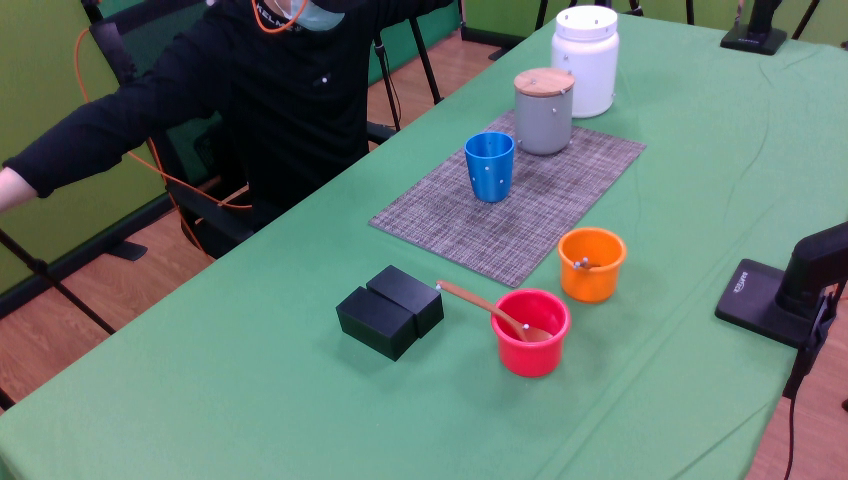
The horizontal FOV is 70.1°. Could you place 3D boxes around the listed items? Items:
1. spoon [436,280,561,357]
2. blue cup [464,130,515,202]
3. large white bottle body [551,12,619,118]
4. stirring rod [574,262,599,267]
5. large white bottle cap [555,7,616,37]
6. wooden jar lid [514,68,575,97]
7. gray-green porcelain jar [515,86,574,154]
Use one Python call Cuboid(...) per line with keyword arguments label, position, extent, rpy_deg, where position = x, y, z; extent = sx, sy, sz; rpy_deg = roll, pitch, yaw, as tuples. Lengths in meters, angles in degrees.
Cuboid(label="spoon", position=(0.096, 0.095, 0.757), extent=(0.195, 0.021, 0.041), rpy_deg=(34, 42, -20))
Cuboid(label="blue cup", position=(0.114, -0.122, 1.035), extent=(0.092, 0.100, 0.092), rpy_deg=(-4, 40, 4))
Cuboid(label="large white bottle body", position=(0.321, -0.356, 1.218), extent=(0.130, 0.185, 0.130), rpy_deg=(-4, 41, 4))
Cuboid(label="stirring rod", position=(0.221, 0.033, 0.816), extent=(0.014, 0.006, 0.177), rpy_deg=(8, 1, 22))
Cuboid(label="large white bottle cap", position=(0.311, -0.420, 1.163), extent=(0.115, 0.018, 0.114), rpy_deg=(-4, 40, 4))
Cuboid(label="wooden jar lid", position=(0.216, -0.279, 1.087), extent=(0.108, 0.021, 0.108), rpy_deg=(-3, 38, 3))
Cuboid(label="gray-green porcelain jar", position=(0.223, -0.233, 1.129), extent=(0.106, 0.127, 0.105), rpy_deg=(-4, 40, 4))
